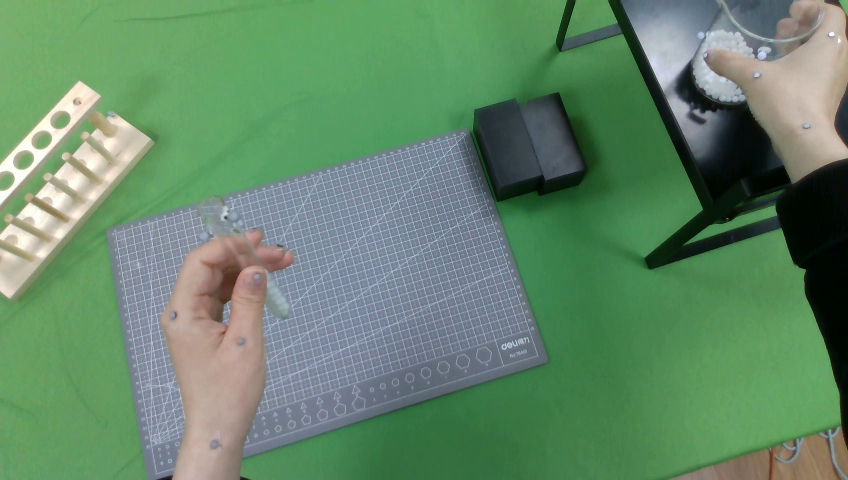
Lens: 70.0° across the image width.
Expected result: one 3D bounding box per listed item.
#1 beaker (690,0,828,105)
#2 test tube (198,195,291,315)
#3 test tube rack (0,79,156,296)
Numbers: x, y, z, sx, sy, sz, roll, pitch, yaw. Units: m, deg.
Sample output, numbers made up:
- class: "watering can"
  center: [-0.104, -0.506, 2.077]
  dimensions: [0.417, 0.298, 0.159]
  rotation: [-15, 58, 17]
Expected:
- class: "beaker"
  center: [0.272, -0.168, 0.512]
  dimensions: [0.084, 0.101, 0.073]
  rotation: [18, 74, 11]
- class: "test tube"
  center: [-0.111, 0.016, 0.391]
  dimensions: [0.017, 0.151, 0.017]
  rotation: [-1, 62, 3]
- class: "test tube rack"
  center: [-0.430, -0.058, 0.693]
  dimensions: [0.066, 0.085, 0.242]
  rotation: [35, 78, 10]
